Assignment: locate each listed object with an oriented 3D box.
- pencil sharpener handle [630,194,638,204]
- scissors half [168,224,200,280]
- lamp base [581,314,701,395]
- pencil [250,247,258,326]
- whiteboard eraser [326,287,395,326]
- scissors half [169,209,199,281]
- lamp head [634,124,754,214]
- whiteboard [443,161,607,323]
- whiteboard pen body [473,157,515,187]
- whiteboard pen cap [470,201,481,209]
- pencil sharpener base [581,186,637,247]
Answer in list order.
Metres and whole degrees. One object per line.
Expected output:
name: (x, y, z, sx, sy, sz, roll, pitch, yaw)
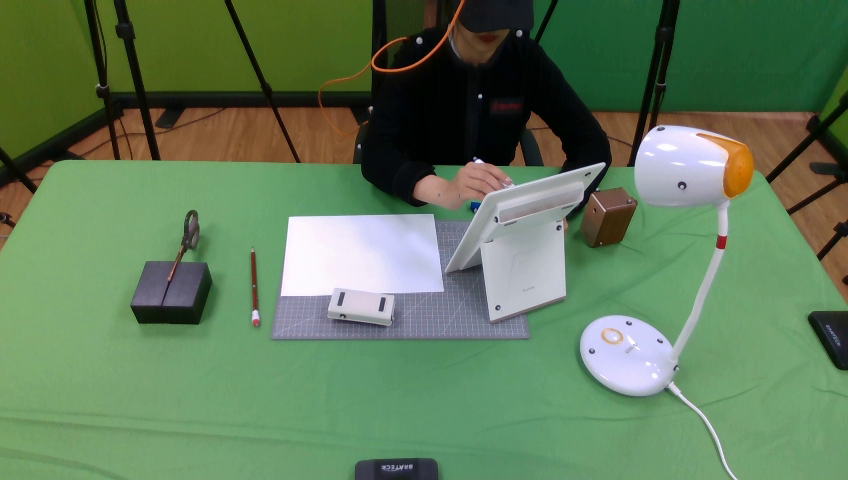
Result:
pencil sharpener handle: (0.417, -0.068, 1.215, 0.031, 0.068, 0.036, -11, 60, -14)
scissors half: (-0.440, 0.023, 1.111, 0.013, 0.040, 0.174, 7, 29, -6)
lamp base: (0.361, 0.144, 0.973, 0.178, 0.181, 0.160, 34, 53, 23)
pencil: (-0.312, 0.079, 1.107, 0.012, 0.012, 0.192, -7, 46, -11)
whiteboard eraser: (-0.110, 0.118, 1.057, 0.113, 0.042, 0.055, 7, 45, 2)
scissors half: (-0.437, 0.007, 1.098, 0.013, 0.040, 0.174, 3, 48, -3)
lamp head: (0.351, -0.089, 0.776, 0.112, 0.113, 0.122, -30, 30, -28)
whiteboard: (0.185, 0.025, 1.029, 0.217, 0.306, 0.143, -15, 68, -18)
whiteboard pen body: (0.131, -0.107, 1.054, 0.017, 0.017, 0.140, -24, 47, -25)
whiteboard pen cap: (0.113, -0.073, 1.279, 0.033, 0.018, 0.018, 4, 46, 6)
pencil sharpener base: (0.369, -0.047, 1.209, 0.077, 0.107, 0.061, -11, 47, -14)
